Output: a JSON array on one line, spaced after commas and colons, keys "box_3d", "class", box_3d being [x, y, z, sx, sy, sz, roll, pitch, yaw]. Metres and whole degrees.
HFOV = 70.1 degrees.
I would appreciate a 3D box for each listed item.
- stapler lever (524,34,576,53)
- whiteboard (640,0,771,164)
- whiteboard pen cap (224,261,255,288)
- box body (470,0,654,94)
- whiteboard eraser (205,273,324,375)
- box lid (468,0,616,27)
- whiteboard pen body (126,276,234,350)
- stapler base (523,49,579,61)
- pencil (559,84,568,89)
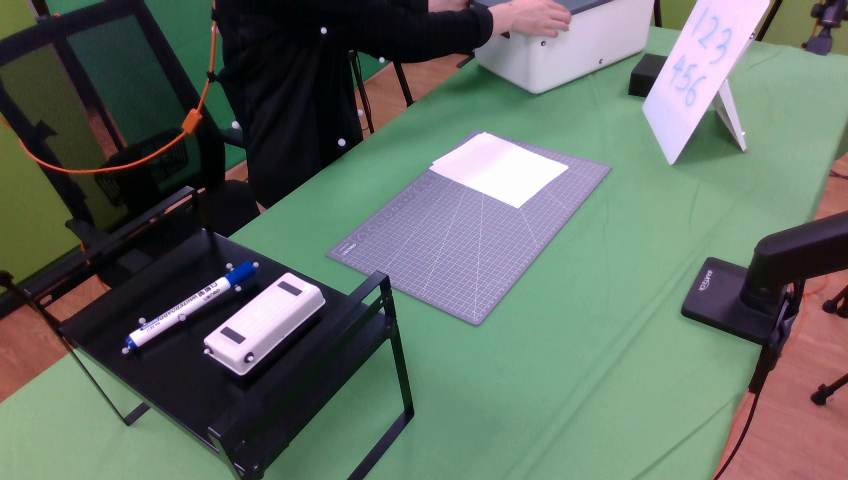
[{"box_3d": [0.297, -0.462, 1.423, 0.117, 0.040, 0.027, 4, 26, 17], "class": "stapler lever"}, {"box_3d": [0.543, -0.299, 1.076, 0.144, 0.305, 0.216, 12, 40, -7], "class": "whiteboard"}, {"box_3d": [-0.207, 0.039, 0.677, 0.033, 0.018, 0.018, -36, 47, -18], "class": "whiteboard pen cap"}, {"box_3d": [0.319, -0.498, 1.405, 0.365, 0.161, 0.252, -26, 43, -21], "class": "box body"}, {"box_3d": [-0.157, 0.084, 0.605, 0.055, 0.042, 0.113, 24, 49, 30], "class": "whiteboard eraser"}, {"box_3d": [0.311, -0.559, 1.354, 0.373, 0.015, 0.261, -26, 42, -21], "class": "box lid"}, {"box_3d": [-0.251, 0.070, 0.649, 0.141, 0.017, 0.017, -36, 48, -26], "class": "whiteboard pen body"}, {"box_3d": [0.300, -0.440, 1.434, 0.130, 0.024, 0.041, 3, 25, 18], "class": "stapler base"}, {"box_3d": [0.248, -0.394, 1.398, 0.193, 0.012, 0.012, 34, 54, 23], "class": "pencil"}]
